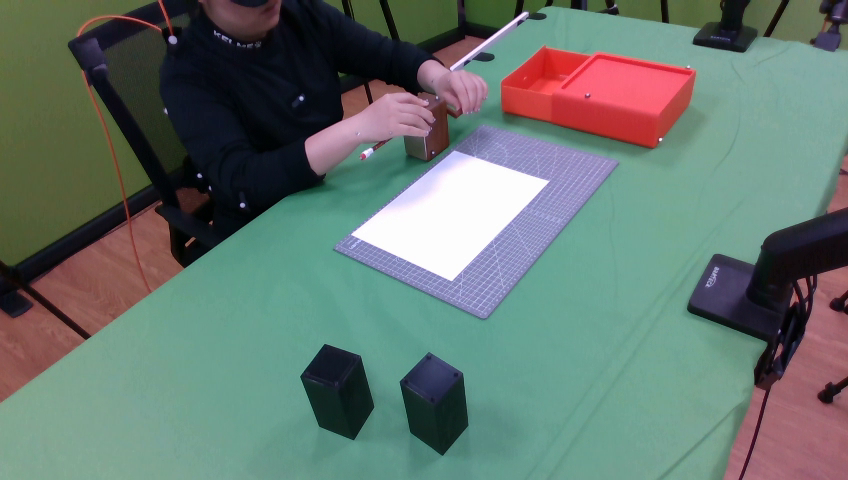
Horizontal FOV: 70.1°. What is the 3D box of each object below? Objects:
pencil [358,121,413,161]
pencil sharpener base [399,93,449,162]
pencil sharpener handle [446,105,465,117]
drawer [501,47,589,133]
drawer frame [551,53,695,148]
[{"bbox_3d":[-0.052,-0.193,1.096,0.012,0.012,0.194,24,49,32],"label":"pencil"},{"bbox_3d":[0.004,-0.216,1.159,0.061,0.107,0.077,24,49,32],"label":"pencil sharpener base"},{"bbox_3d":[0.045,-0.257,1.164,0.067,0.036,0.031,33,53,23],"label":"pencil sharpener handle"},{"bbox_3d":[0.296,-0.316,1.256,0.210,0.073,0.195,22,48,29],"label":"drawer"},{"bbox_3d":[0.391,-0.281,1.196,0.212,0.083,0.202,22,48,29],"label":"drawer frame"}]
